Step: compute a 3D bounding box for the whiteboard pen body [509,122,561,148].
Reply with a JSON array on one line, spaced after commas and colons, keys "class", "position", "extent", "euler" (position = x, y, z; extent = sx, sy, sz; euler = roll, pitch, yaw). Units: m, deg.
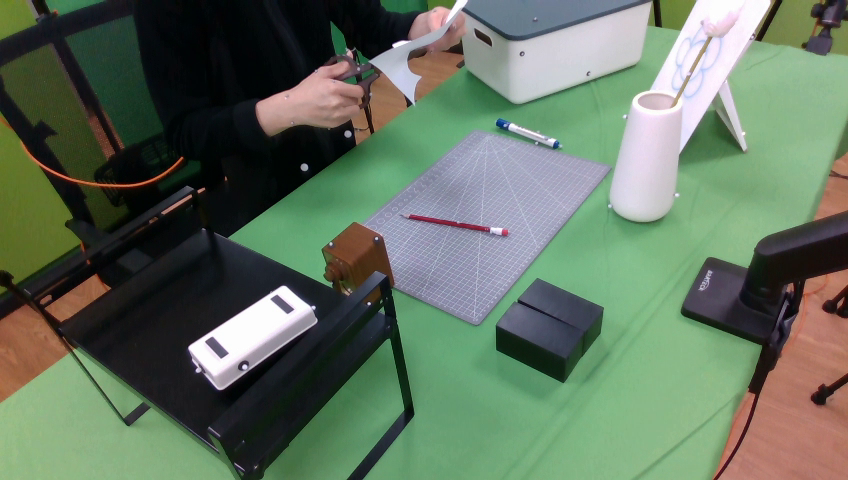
[{"class": "whiteboard pen body", "position": [0.208, -0.212, 1.195], "extent": [0.139, 0.017, 0.017], "euler": [30, 52, 33]}]

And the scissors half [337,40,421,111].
[{"class": "scissors half", "position": [-0.066, -0.243, 0.894], "extent": [0.174, 0.040, 0.013], "euler": [-32, 14, 35]}]

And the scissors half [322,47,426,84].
[{"class": "scissors half", "position": [-0.077, -0.261, 0.887], "extent": [0.174, 0.040, 0.013], "euler": [-4, 33, 24]}]

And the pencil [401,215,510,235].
[{"class": "pencil", "position": [0.049, -0.027, 1.007], "extent": [0.193, 0.012, 0.012], "euler": [10, 43, 21]}]

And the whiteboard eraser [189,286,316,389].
[{"class": "whiteboard eraser", "position": [-0.166, 0.096, 0.593], "extent": [0.113, 0.042, 0.055], "euler": [-36, 47, -29]}]

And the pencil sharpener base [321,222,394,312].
[{"class": "pencil sharpener base", "position": [-0.096, 0.041, 0.873], "extent": [0.061, 0.107, 0.077], "euler": [26, 54, 32]}]

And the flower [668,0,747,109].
[{"class": "flower", "position": [0.354, -0.187, 0.879], "extent": [0.038, 0.362, 0.044], "euler": [30, 48, 14]}]

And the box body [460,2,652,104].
[{"class": "box body", "position": [0.291, -0.465, 1.371], "extent": [0.365, 0.161, 0.252], "euler": [-22, 42, -16]}]

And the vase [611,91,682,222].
[{"class": "vase", "position": [0.348, -0.125, 0.935], "extent": [0.098, 0.201, 0.097], "euler": [-3, 40, 3]}]

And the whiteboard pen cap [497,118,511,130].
[{"class": "whiteboard pen cap", "position": [0.165, -0.235, 1.227], "extent": [0.033, 0.018, 0.018], "euler": [31, 53, 31]}]

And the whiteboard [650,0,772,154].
[{"class": "whiteboard", "position": [0.543, -0.298, 1.076], "extent": [0.144, 0.305, 0.216], "euler": [12, 40, -7]}]

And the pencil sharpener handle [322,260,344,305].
[{"class": "pencil sharpener handle", "position": [-0.131, 0.061, 0.839], "extent": [0.035, 0.068, 0.031], "euler": [29, 56, 27]}]

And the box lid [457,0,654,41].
[{"class": "box lid", "position": [0.285, -0.522, 1.323], "extent": [0.373, 0.015, 0.261], "euler": [-22, 43, -16]}]
